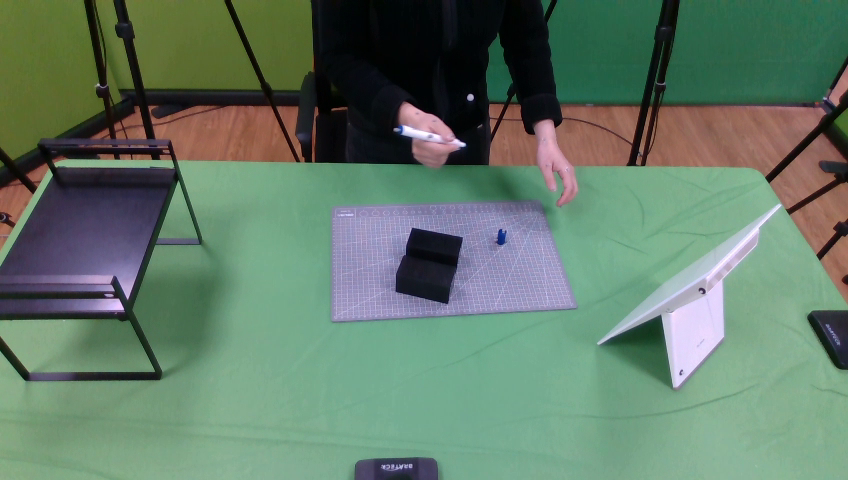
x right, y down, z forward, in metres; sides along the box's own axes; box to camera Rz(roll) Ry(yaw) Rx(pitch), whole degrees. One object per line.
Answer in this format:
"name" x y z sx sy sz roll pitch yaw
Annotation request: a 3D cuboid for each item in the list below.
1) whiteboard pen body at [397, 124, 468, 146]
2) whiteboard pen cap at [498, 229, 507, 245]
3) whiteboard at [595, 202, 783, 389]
"whiteboard pen body" 0.017 -0.175 1.033 0.141 0.017 0.017 8 41 -31
"whiteboard pen cap" 0.156 -0.006 1.203 0.018 0.033 0.018 0 45 0
"whiteboard" 0.459 0.112 0.968 0.217 0.306 0.143 -31 74 -29
